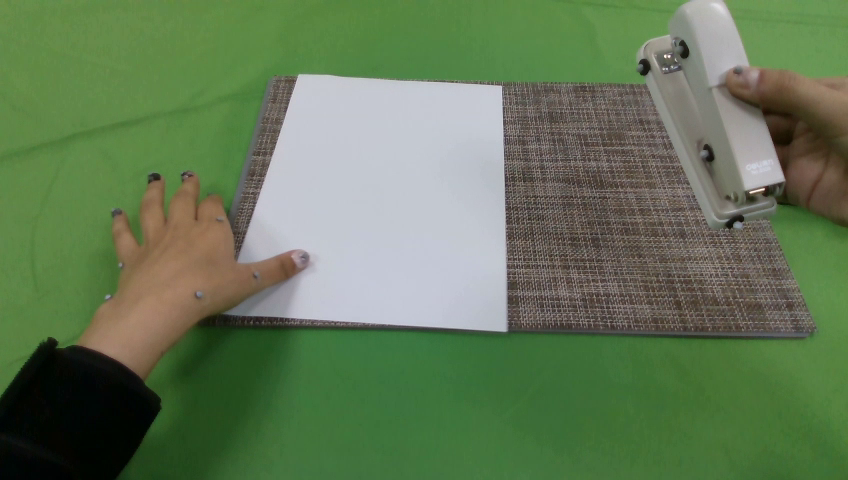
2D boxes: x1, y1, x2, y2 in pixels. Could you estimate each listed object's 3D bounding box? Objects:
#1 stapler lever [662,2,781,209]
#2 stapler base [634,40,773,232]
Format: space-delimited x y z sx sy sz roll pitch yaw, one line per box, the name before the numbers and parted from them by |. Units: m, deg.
stapler lever | 0.164 -0.077 0.335 0.027 0.040 0.117 -15 71 1
stapler base | 0.165 -0.070 0.358 0.041 0.024 0.129 -15 72 1
